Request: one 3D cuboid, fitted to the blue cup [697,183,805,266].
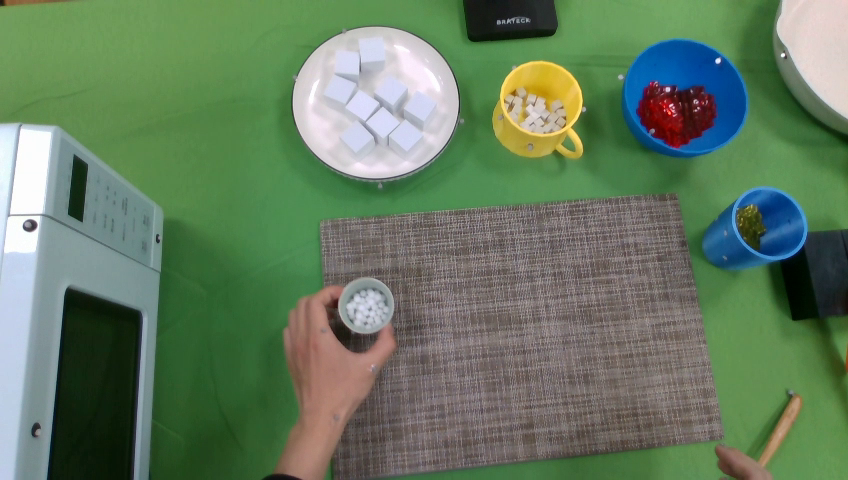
[{"bbox_3d":[0.372,-0.010,0.710,0.093,0.100,0.092,1,75,-3],"label":"blue cup"}]

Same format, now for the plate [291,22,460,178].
[{"bbox_3d":[-0.059,-0.173,0.761,0.208,0.039,0.206,1,77,-2],"label":"plate"}]

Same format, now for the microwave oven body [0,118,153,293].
[{"bbox_3d":[-0.456,0.143,0.552,0.326,0.261,0.439,-2,78,-3],"label":"microwave oven body"}]

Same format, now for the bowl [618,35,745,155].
[{"bbox_3d":[0.307,-0.167,0.756,0.151,0.077,0.150,1,77,-2],"label":"bowl"}]

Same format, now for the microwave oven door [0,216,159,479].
[{"bbox_3d":[-0.309,0.179,0.545,0.039,0.244,0.354,-2,77,-3],"label":"microwave oven door"}]

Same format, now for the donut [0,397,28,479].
[{"bbox_3d":[-0.433,0.197,0.581,0.099,0.048,0.098,1,78,-5],"label":"donut"}]

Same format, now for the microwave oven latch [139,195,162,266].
[{"bbox_3d":[-0.318,-0.010,0.692,0.030,0.029,0.079,-1,78,-3],"label":"microwave oven latch"}]

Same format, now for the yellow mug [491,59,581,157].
[{"bbox_3d":[0.148,-0.153,0.752,0.100,0.064,0.130,-42,83,-11],"label":"yellow mug"}]

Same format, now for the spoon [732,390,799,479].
[{"bbox_3d":[0.382,0.250,0.691,0.041,0.022,0.193,37,78,18],"label":"spoon"}]

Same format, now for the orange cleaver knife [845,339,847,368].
[{"bbox_3d":[0.511,0.141,0.692,0.012,0.076,0.212,-5,106,-3],"label":"orange cleaver knife"}]

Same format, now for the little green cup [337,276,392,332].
[{"bbox_3d":[-0.064,0.074,0.673,0.061,0.039,0.061,0,74,-1],"label":"little green cup"}]

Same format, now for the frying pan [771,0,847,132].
[{"bbox_3d":[0.592,-0.164,0.754,0.307,0.103,0.484,0,69,-1],"label":"frying pan"}]

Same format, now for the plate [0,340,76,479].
[{"bbox_3d":[-0.445,0.201,0.593,0.209,0.038,0.208,1,78,-3],"label":"plate"}]
